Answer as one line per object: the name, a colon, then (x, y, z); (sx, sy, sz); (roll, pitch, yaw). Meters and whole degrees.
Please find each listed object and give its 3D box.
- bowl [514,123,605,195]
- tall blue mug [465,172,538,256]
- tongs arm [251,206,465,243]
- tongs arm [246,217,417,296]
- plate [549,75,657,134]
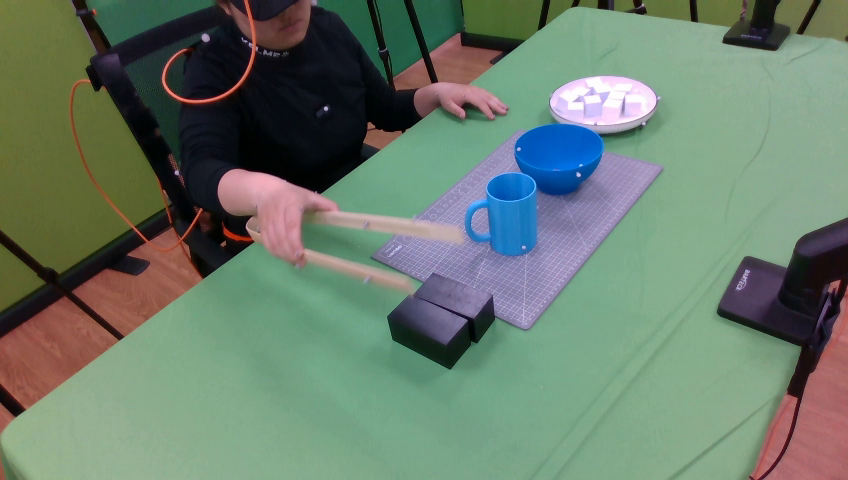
bowl: (0.232, -0.131, 1.045); (0.151, 0.077, 0.150); (-5, 40, 5)
tall blue mug: (0.125, -0.033, 0.925); (0.107, 0.108, 0.077); (-32, 46, -25)
tongs arm: (-0.110, -0.018, 0.843); (0.381, 0.027, 0.051); (10, 46, 40)
tongs arm: (-0.144, 0.017, 0.812); (0.384, 0.028, 0.028); (15, 53, 44)
plate: (0.357, -0.269, 1.220); (0.209, 0.038, 0.208); (-5, 41, 5)
